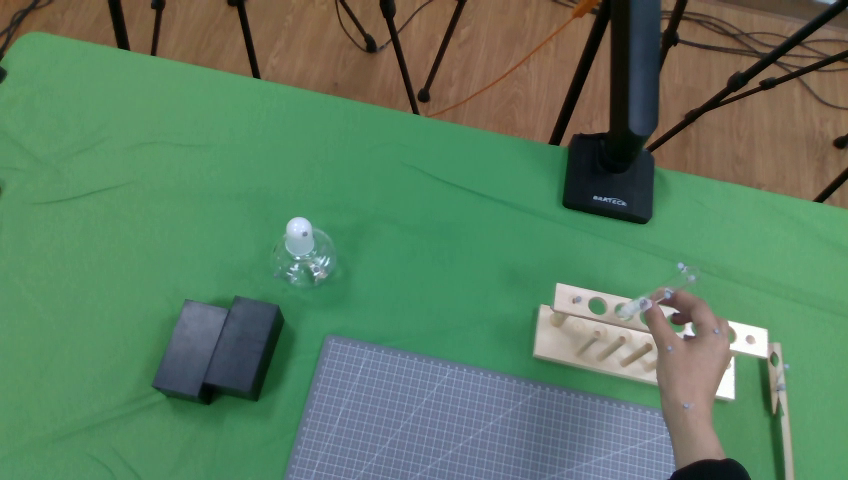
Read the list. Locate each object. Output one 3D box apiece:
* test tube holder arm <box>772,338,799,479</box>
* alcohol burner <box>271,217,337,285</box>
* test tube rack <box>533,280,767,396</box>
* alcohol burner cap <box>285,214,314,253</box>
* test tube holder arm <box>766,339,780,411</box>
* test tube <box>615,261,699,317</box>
[{"bbox_3d":[0.429,0.205,0.721,0.013,0.015,0.177,-11,61,30],"label":"test tube holder arm"},{"bbox_3d":[-0.142,0.006,0.708,0.078,0.120,0.077,2,63,-3],"label":"alcohol burner"},{"bbox_3d":[0.260,0.117,0.710,0.242,0.086,0.066,12,65,1],"label":"test tube rack"},{"bbox_3d":[-0.139,-0.011,0.676,0.034,0.048,0.033,5,60,-9],"label":"alcohol burner cap"},{"bbox_3d":[0.428,0.165,0.742,0.010,0.015,0.087,-10,61,31],"label":"test tube holder arm"},{"bbox_3d":[0.237,0.055,0.630,0.017,0.151,0.017,4,67,-8],"label":"test tube"}]
